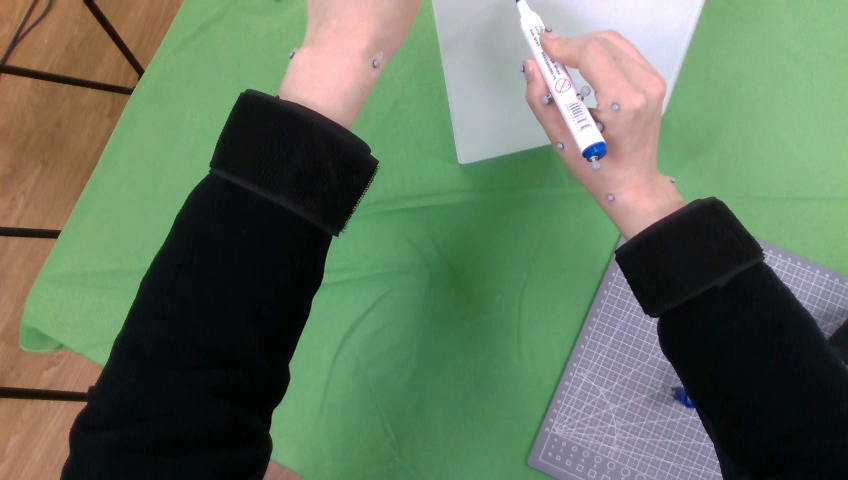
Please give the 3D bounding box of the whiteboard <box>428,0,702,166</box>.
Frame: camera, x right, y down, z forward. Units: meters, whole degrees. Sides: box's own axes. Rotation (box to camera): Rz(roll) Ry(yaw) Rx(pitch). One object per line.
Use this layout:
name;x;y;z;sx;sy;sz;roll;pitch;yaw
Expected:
whiteboard;0.106;-0.223;0.520;0.217;0.308;0.142;-12;66;3

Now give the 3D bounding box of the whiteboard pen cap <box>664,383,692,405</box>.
whiteboard pen cap;0.247;0.149;0.592;0.018;0.033;0.018;0;88;2

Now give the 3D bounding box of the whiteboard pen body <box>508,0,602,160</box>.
whiteboard pen body;0.081;-0.112;0.397;0.017;0.017;0.139;-21;67;1
